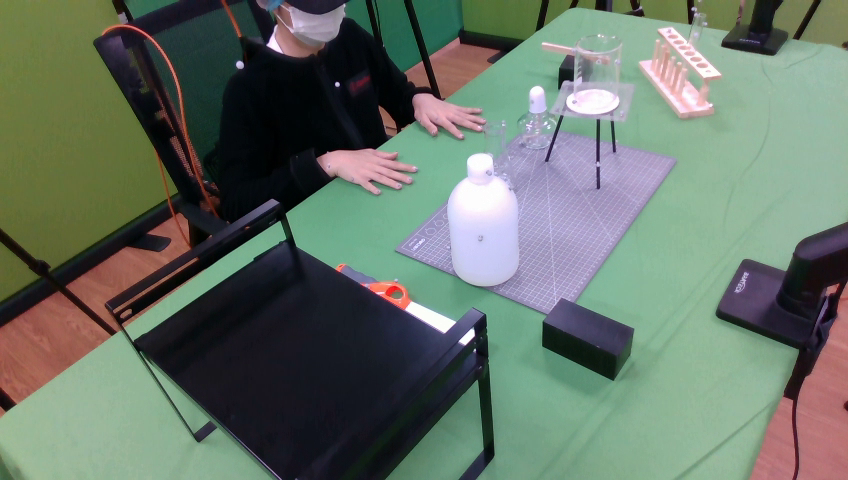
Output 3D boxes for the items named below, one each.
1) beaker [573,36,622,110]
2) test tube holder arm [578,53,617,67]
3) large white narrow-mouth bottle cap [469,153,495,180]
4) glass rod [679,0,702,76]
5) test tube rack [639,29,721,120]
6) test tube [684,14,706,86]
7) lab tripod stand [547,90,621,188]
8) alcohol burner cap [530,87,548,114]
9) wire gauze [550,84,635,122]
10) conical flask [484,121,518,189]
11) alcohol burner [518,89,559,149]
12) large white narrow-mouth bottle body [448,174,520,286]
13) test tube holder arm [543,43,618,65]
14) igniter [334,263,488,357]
[{"bbox_3d":[0.283,-0.273,0.990,0.073,0.101,0.084,16,46,28],"label":"beaker"},{"bbox_3d":[0.376,-0.393,1.314,0.087,0.015,0.010,26,51,32],"label":"test tube holder arm"},{"bbox_3d":[0.078,-0.099,0.811,0.038,0.024,0.037,-4,40,4],"label":"large white narrow-mouth bottle cap"},{"bbox_3d":[0.543,-0.417,1.233,0.008,0.200,0.008,1,39,0],"label":"glass rod"},{"bbox_3d":[0.527,-0.351,1.262,0.067,0.085,0.241,-8,40,1],"label":"test tube rack"},{"bbox_3d":[0.540,-0.378,1.215,0.017,0.151,0.017,-2,44,3],"label":"test tube"},{"bbox_3d":[0.289,-0.184,1.062,0.148,0.132,0.147,-6,41,6],"label":"lab tripod stand"},{"bbox_3d":[0.212,-0.262,1.126,0.034,0.048,0.033,-8,37,7],"label":"alcohol burner cap"},{"bbox_3d":[0.285,-0.234,1.021,0.124,0.011,0.121,8,41,23],"label":"wire gauze"},{"bbox_3d":[0.126,-0.145,1.051,0.075,0.122,0.075,-5,40,4],"label":"conical flask"},{"bbox_3d":[0.218,-0.235,1.149,0.078,0.119,0.077,-5,43,5],"label":"alcohol burner"},{"bbox_3d":[0.086,-0.032,0.868,0.102,0.195,0.101,-4,40,4],"label":"large white narrow-mouth bottle body"},{"bbox_3d":[0.345,-0.413,1.341,0.177,0.015,0.013,25,50,31],"label":"test tube holder arm"},{"bbox_3d":[-0.030,0.095,0.872,0.274,0.025,0.057,23,59,31],"label":"igniter"}]
